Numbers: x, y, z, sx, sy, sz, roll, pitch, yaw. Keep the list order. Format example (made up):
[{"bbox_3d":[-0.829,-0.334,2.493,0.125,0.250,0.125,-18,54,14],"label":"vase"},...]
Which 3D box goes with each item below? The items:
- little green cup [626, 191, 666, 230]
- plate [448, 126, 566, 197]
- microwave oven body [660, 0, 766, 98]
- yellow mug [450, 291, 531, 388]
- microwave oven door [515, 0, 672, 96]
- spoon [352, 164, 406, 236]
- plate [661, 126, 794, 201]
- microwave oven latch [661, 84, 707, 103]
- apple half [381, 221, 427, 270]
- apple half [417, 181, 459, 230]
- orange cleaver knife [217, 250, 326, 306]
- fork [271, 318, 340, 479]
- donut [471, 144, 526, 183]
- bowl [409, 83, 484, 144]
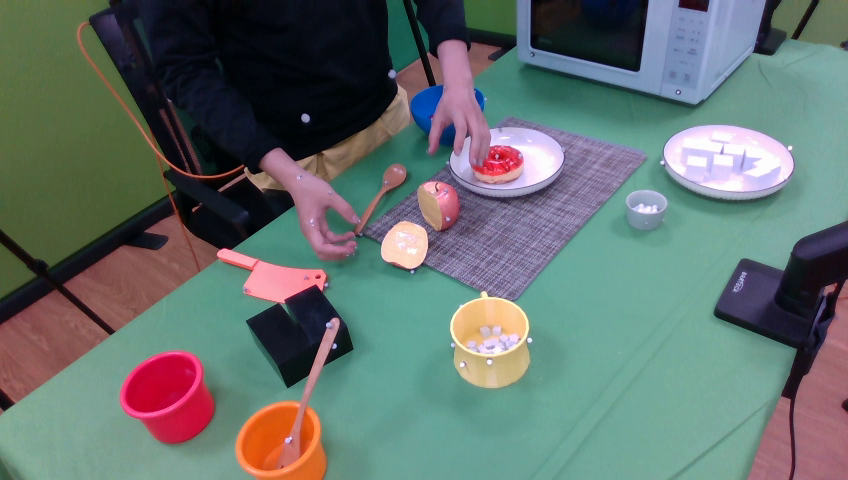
[{"bbox_3d":[0.352,-0.046,0.963,0.061,0.039,0.061,-4,40,4],"label":"little green cup"},{"bbox_3d":[0.150,-0.138,1.096,0.209,0.038,0.208,-4,40,4],"label":"plate"},{"bbox_3d":[0.473,-0.513,1.317,0.438,0.261,0.327,26,51,34],"label":"microwave oven body"},{"bbox_3d":[0.085,0.120,0.786,0.100,0.064,0.130,-7,39,1],"label":"yellow mug"},{"bbox_3d":[0.343,-0.454,1.259,0.353,0.245,0.039,26,51,33],"label":"microwave oven door"},{"bbox_3d":[-0.083,-0.074,1.075,0.041,0.021,0.194,22,46,9],"label":"spoon"},{"bbox_3d":[0.513,-0.128,1.035,0.207,0.039,0.206,-4,40,4],"label":"plate"},{"bbox_3d":[0.517,-0.296,1.205,0.078,0.029,0.030,26,51,34],"label":"microwave oven latch"},{"bbox_3d":[-0.025,0.012,0.946,0.081,0.033,0.081,-5,72,16],"label":"apple half"},{"bbox_3d":[0.030,-0.060,0.995,0.053,0.075,0.080,-23,39,-22],"label":"apple half"},{"bbox_3d":[-0.248,0.059,0.946,0.210,0.012,0.077,12,49,20],"label":"orange cleaver knife"},{"bbox_3d":[-0.132,0.186,0.676,0.028,0.019,0.207,18,90,28],"label":"fork"},{"bbox_3d":[0.134,-0.138,1.083,0.099,0.048,0.098,-6,38,5],"label":"donut"},{"bbox_3d":[0.048,-0.245,1.213,0.151,0.077,0.150,-4,40,4],"label":"bowl"}]
